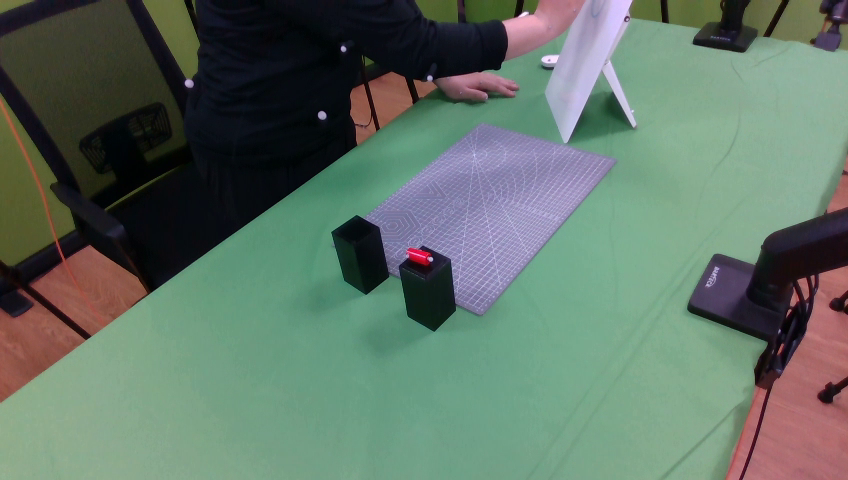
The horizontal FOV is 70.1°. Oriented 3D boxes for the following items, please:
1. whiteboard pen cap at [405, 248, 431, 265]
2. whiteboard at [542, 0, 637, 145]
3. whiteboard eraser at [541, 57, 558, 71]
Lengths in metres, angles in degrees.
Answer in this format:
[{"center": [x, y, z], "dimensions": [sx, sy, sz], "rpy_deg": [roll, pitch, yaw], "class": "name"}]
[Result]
[{"center": [-0.008, 0.021, 0.794], "dimensions": [0.032, 0.017, 0.017], "rpy_deg": [16, 45, 28], "class": "whiteboard pen cap"}, {"center": [0.366, -0.351, 1.160], "dimensions": [0.144, 0.305, 0.216], "rpy_deg": [10, 39, -10], "class": "whiteboard"}, {"center": [0.324, -0.412, 1.408], "dimensions": [0.101, 0.019, 0.041], "rpy_deg": [2, 43, 11], "class": "whiteboard eraser"}]
